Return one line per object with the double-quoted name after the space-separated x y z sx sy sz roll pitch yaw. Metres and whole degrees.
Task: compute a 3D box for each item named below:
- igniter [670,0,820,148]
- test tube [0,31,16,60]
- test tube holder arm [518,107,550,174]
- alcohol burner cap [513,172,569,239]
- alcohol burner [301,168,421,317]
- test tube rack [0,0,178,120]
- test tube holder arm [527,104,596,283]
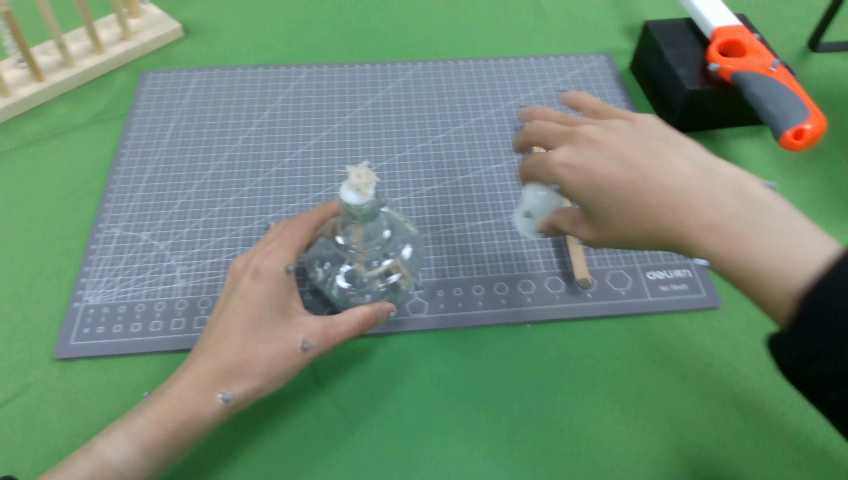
0.258 -0.175 0.524 0.057 0.025 0.273 -8 51 -4 "igniter"
-0.369 -0.214 0.492 0.017 0.151 0.017 2 49 -2 "test tube"
0.094 -0.076 0.506 0.010 0.015 0.087 -26 51 23 "test tube holder arm"
0.080 -0.026 0.409 0.034 0.048 0.033 2 57 -3 "alcohol burner cap"
-0.041 -0.003 0.383 0.078 0.120 0.077 0 54 0 "alcohol burner"
-0.350 -0.180 0.529 0.066 0.086 0.242 37 60 24 "test tube rack"
0.105 -0.043 0.478 0.013 0.015 0.176 -27 51 22 "test tube holder arm"
